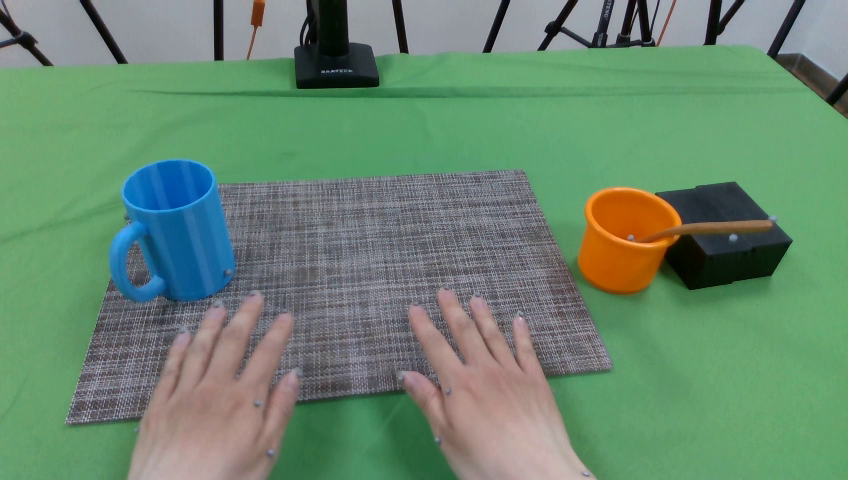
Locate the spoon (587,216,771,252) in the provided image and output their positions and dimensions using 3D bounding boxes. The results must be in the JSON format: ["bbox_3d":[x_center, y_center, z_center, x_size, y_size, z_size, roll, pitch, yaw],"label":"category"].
[{"bbox_3d":[0.226,-0.007,0.564,0.042,0.193,0.021,-20,91,-28],"label":"spoon"}]

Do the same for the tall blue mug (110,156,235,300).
[{"bbox_3d":[-0.221,0.000,0.543,0.078,0.109,0.106,2,43,-3],"label":"tall blue mug"}]
